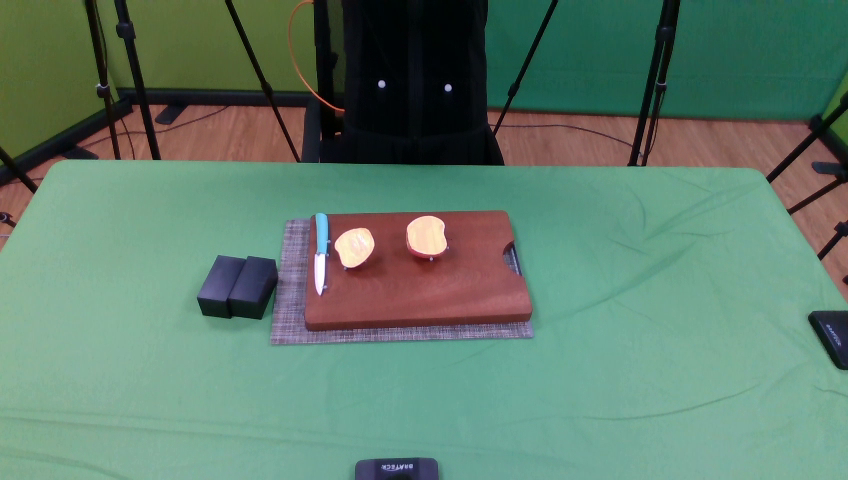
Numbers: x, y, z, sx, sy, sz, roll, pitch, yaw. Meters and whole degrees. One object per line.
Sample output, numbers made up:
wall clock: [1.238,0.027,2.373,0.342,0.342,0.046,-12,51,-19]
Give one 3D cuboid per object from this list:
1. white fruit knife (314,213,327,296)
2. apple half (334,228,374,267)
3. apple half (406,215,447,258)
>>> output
white fruit knife: [-0.193,0.023,1.129,0.027,0.016,0.206,-22,47,15]
apple half: [-0.123,0.017,1.120,0.081,0.033,0.081,-8,62,15]
apple half: [0.002,-0.001,1.136,0.075,0.053,0.080,-6,70,-14]
